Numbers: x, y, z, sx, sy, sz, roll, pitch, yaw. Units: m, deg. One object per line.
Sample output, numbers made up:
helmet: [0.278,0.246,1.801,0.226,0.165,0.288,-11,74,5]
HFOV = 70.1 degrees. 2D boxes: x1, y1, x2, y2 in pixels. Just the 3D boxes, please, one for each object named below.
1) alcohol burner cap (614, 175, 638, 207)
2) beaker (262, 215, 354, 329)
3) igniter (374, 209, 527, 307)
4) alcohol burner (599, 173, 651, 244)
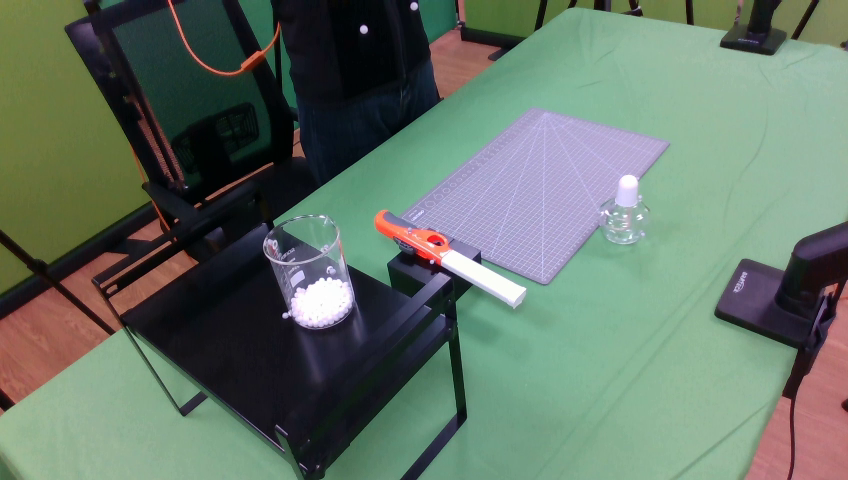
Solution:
alcohol burner cap: [0.303,-0.076,0.901,0.034,0.048,0.033,-4,43,5]
beaker: [-0.112,0.034,0.616,0.073,0.101,0.084,13,44,23]
igniter: [0.026,0.019,0.873,0.274,0.025,0.057,29,52,31]
alcohol burner: [0.307,-0.052,0.920,0.078,0.119,0.077,-6,42,6]
